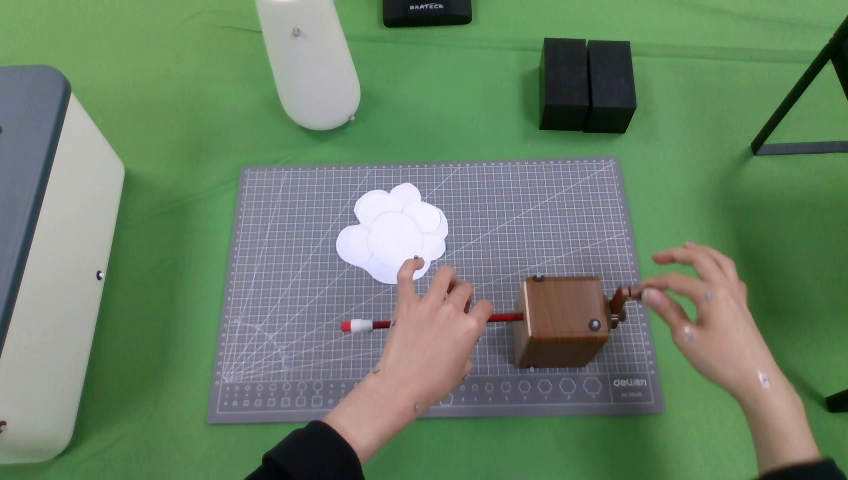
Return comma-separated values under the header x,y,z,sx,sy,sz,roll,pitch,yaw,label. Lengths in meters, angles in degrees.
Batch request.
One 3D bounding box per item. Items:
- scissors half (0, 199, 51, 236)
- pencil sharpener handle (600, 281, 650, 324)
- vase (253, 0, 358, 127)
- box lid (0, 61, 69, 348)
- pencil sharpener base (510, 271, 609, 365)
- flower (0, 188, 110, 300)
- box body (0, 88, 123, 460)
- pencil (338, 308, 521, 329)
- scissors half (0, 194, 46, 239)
x,y,z,sx,sy,sz,roll,pitch,yaw,label
-0.507,-0.003,0.669,0.175,0.040,0.012,-27,35,-13,scissors half
0.177,0.055,0.541,0.030,0.068,0.035,-2,60,0,pencil sharpener handle
-0.133,-0.217,0.675,0.098,0.201,0.097,-1,64,2,vase
-0.470,-0.007,0.519,0.263,0.015,0.368,-2,65,-1,box lid
0.127,0.077,0.579,0.077,0.108,0.061,-2,64,0,pencil sharpener base
-0.464,0.059,0.665,0.038,0.044,0.359,-9,39,33,flower
-0.468,0.027,0.587,0.254,0.161,0.361,-3,65,0,box body
0.019,0.070,0.552,0.194,0.012,0.012,-3,64,-3,pencil
-0.501,0.007,0.677,0.175,0.040,0.012,-34,30,-6,scissors half
